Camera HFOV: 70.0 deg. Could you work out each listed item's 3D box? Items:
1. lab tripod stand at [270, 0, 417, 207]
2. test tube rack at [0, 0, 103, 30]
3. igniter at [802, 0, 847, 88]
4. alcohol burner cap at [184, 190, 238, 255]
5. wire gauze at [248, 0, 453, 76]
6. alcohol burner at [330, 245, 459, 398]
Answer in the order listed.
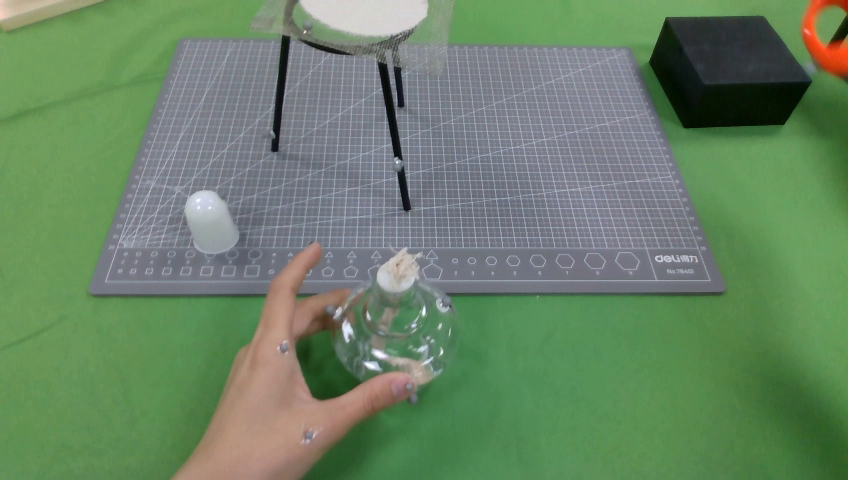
[{"bbox_3d":[-0.049,-0.114,0.456,0.148,0.132,0.147,3,52,-4],"label":"lab tripod stand"},{"bbox_3d":[-0.334,-0.306,0.620,0.242,0.086,0.066,-31,61,-24],"label":"test tube rack"},{"bbox_3d":[0.237,-0.143,0.345,0.057,0.025,0.275,-27,75,27],"label":"igniter"},{"bbox_3d":[-0.154,-0.015,0.432,0.034,0.048,0.033,3,52,-3],"label":"alcohol burner cap"},{"bbox_3d":[-0.040,-0.161,0.408,0.125,0.011,0.120,11,52,2],"label":"wire gauze"},{"bbox_3d":[-0.018,0.044,0.353,0.078,0.120,0.077,1,53,0],"label":"alcohol burner"}]
